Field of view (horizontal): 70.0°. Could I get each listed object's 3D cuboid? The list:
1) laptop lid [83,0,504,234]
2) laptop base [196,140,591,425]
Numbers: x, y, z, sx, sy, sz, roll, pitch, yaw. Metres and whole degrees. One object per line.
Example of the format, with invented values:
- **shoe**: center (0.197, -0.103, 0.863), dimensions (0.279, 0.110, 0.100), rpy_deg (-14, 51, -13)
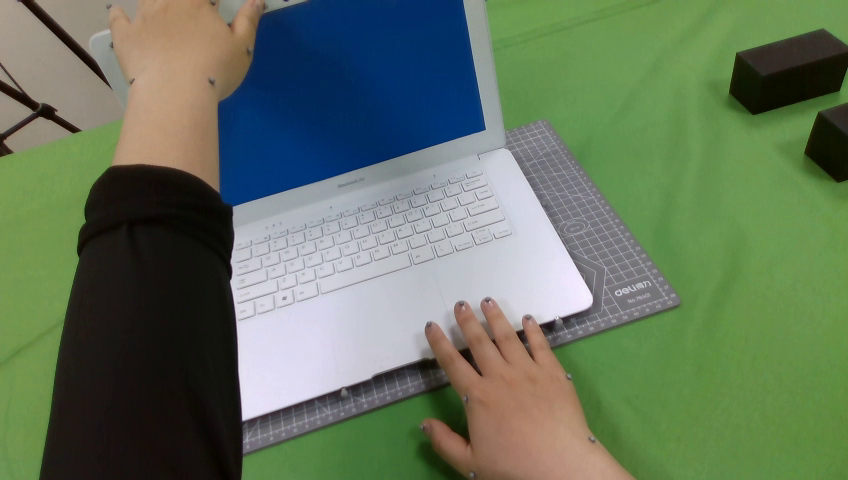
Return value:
- **laptop lid**: center (-0.103, -0.144, 0.595), dimensions (0.357, 0.244, 0.013), rpy_deg (-19, 39, -1)
- **laptop base**: center (-0.048, 0.026, 0.590), dimensions (0.354, 0.023, 0.233), rpy_deg (-18, 50, -2)
